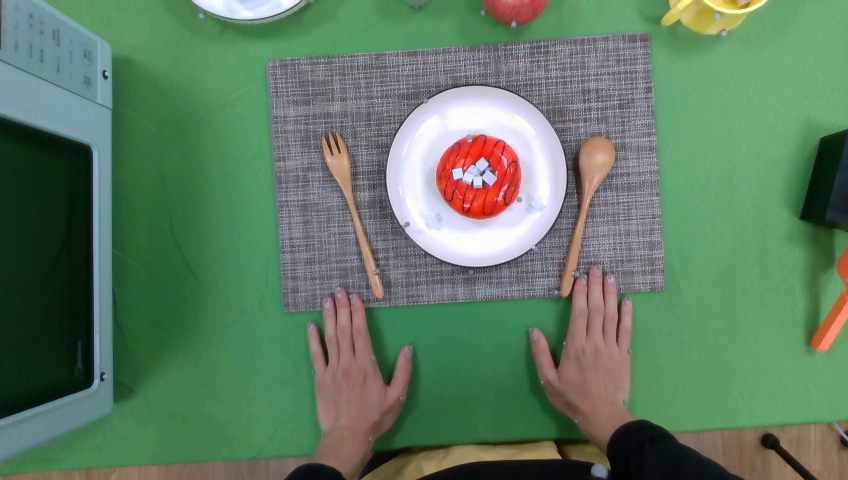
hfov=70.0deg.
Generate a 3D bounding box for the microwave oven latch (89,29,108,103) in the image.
[{"bbox_3d":[-0.382,-0.199,0.696,0.030,0.029,0.079,0,90,1],"label":"microwave oven latch"}]

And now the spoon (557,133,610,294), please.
[{"bbox_3d":[0.181,-0.032,0.705,0.041,0.021,0.193,12,90,1],"label":"spoon"}]

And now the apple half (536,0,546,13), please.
[{"bbox_3d":[0.124,-0.298,0.682,0.033,0.081,0.081,-24,88,6],"label":"apple half"}]

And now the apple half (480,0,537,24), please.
[{"bbox_3d":[0.088,-0.281,0.684,0.053,0.074,0.081,-24,92,6],"label":"apple half"}]

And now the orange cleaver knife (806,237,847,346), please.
[{"bbox_3d":[0.473,0.022,0.662,0.012,0.076,0.212,16,122,4],"label":"orange cleaver knife"}]

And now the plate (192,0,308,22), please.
[{"bbox_3d":[-0.201,-0.355,0.711,0.207,0.039,0.207,0,89,2],"label":"plate"}]

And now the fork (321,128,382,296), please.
[{"bbox_3d":[-0.084,-0.034,0.710,0.028,0.018,0.207,-17,89,-9],"label":"fork"}]

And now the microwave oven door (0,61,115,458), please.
[{"bbox_3d":[-0.386,0.018,0.593,0.039,0.244,0.355,-1,89,2],"label":"microwave oven door"}]

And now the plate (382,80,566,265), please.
[{"bbox_3d":[0.057,-0.076,0.696,0.209,0.038,0.209,0,90,2],"label":"plate"}]

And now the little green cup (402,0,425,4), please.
[{"bbox_3d":[-0.013,-0.307,0.704,0.061,0.038,0.061,0,89,2],"label":"little green cup"}]

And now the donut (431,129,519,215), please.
[{"bbox_3d":[0.058,-0.077,0.685,0.099,0.048,0.099,0,91,3],"label":"donut"}]

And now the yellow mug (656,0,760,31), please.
[{"bbox_3d":[0.318,-0.286,0.681,0.131,0.064,0.100,-35,89,2],"label":"yellow mug"}]

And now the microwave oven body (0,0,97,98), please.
[{"bbox_3d":[-0.532,-0.023,0.603,0.326,0.260,0.441,-1,90,1],"label":"microwave oven body"}]
